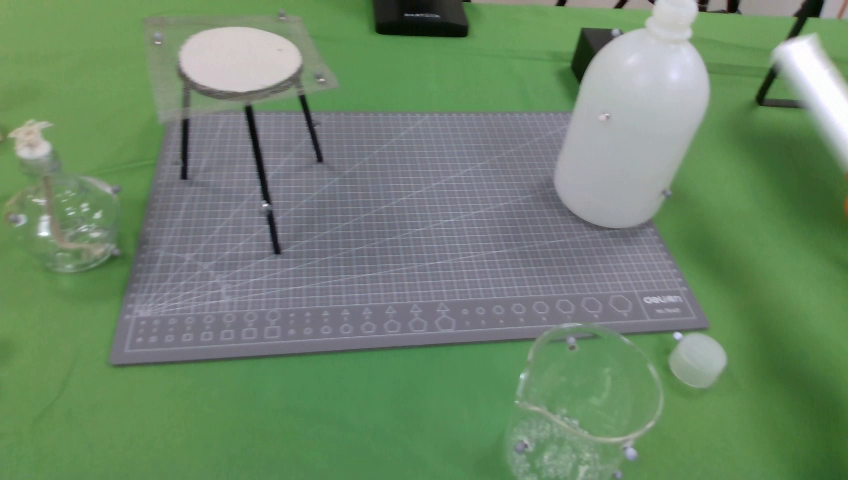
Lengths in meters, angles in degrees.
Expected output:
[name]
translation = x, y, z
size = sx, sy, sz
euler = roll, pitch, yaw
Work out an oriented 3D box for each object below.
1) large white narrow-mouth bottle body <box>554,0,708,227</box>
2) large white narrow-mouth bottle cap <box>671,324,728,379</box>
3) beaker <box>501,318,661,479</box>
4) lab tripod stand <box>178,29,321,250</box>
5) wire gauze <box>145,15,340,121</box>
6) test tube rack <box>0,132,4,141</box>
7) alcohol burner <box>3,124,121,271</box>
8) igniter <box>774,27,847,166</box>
[large white narrow-mouth bottle body]
translation = 0.179, -0.109, 0.513
size = 0.102, 0.196, 0.101
euler = 3, 46, -3
[large white narrow-mouth bottle cap]
translation = 0.208, 0.084, 0.458
size = 0.038, 0.024, 0.037
euler = 3, 46, -3
[beaker]
translation = 0.085, 0.108, 0.365
size = 0.084, 0.101, 0.073
euler = -11, 48, -15
[lab tripod stand]
translation = -0.137, -0.086, 0.491
size = 0.148, 0.132, 0.147
euler = 5, 47, -5
[wire gauze]
translation = -0.135, -0.134, 0.443
size = 0.122, 0.011, 0.123
euler = -12, 51, -19
[test tube rack]
translation = -0.489, -0.080, 0.475
size = 0.066, 0.086, 0.242
euler = 36, 52, 24
[alcohol burner]
translation = -0.268, -0.034, 0.442
size = 0.078, 0.120, 0.077
euler = 5, 45, -4
[igniter]
translation = 0.332, -0.049, 0.443
size = 0.057, 0.025, 0.274
euler = -14, 63, 5
